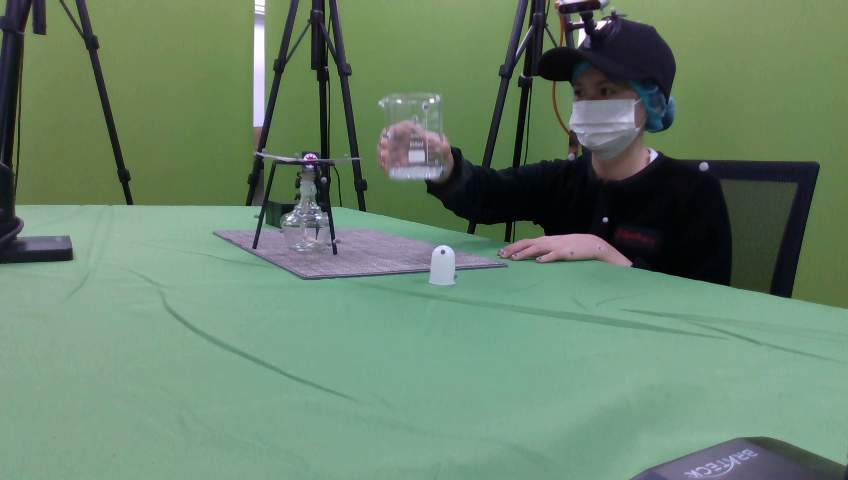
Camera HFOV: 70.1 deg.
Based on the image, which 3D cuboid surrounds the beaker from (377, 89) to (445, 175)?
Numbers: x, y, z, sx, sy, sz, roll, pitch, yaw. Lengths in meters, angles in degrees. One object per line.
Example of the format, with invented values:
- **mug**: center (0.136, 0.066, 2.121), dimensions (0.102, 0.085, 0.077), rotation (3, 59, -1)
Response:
- **beaker**: center (-0.015, -0.130, 0.740), dimensions (0.084, 0.100, 0.074), rotation (-4, 7, -17)

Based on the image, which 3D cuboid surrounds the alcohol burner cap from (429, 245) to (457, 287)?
- **alcohol burner cap**: center (0.023, 0.030, 0.705), dimensions (0.034, 0.048, 0.034), rotation (2, 6, 0)

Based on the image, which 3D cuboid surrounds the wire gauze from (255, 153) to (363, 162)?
- **wire gauze**: center (-0.172, -0.119, 0.891), dimensions (0.122, 0.011, 0.124), rotation (-2, 7, -38)

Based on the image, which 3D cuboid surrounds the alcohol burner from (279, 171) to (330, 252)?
- **alcohol burner**: center (-0.174, -0.042, 0.896), dimensions (0.078, 0.119, 0.078), rotation (3, 5, 0)

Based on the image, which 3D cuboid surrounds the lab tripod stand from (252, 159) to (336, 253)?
- **lab tripod stand**: center (-0.180, -0.053, 0.900), dimensions (0.148, 0.131, 0.148), rotation (1, 6, 0)
